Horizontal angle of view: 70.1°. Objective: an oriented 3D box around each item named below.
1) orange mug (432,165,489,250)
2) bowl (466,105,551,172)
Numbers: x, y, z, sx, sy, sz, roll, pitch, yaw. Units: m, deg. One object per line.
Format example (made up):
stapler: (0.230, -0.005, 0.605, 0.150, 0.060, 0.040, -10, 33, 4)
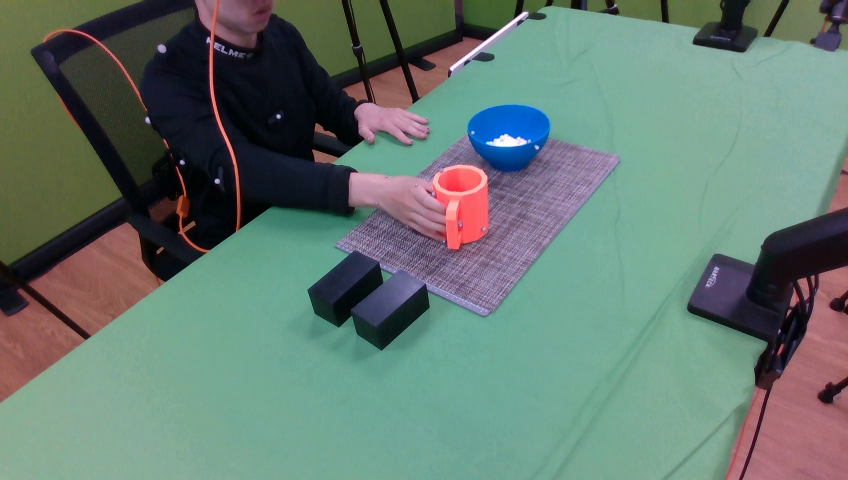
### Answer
orange mug: (0.055, -0.046, 0.948, 0.083, 0.101, 0.126, 4, 36, 13)
bowl: (0.155, -0.177, 1.105, 0.151, 0.077, 0.150, -3, 40, 3)
